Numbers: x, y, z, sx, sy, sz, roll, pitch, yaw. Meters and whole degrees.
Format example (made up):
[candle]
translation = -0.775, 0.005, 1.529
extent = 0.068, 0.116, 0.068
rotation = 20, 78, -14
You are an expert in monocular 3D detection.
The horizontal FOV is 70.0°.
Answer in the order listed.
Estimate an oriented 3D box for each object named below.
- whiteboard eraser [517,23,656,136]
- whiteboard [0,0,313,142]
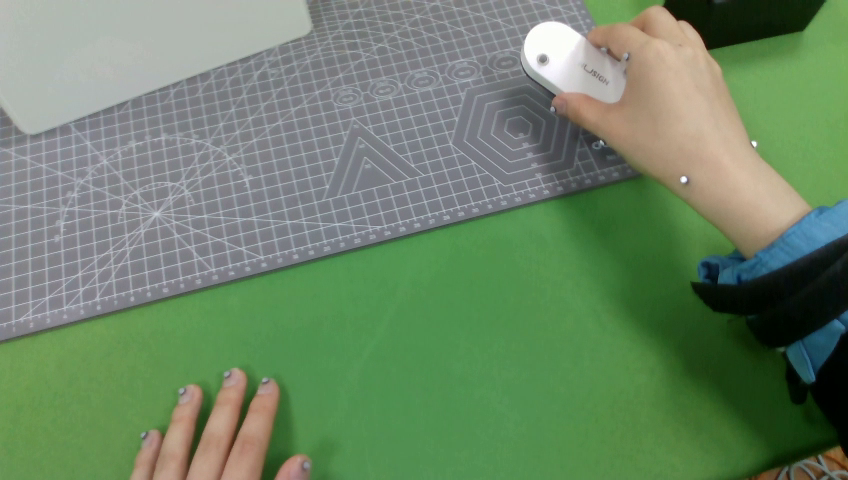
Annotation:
[whiteboard eraser]
translation = 0.110, -0.108, 0.411
extent = 0.101, 0.019, 0.041
rotation = 36, 81, 3
[whiteboard]
translation = -0.230, -0.257, 0.374
extent = 0.217, 0.308, 0.142
rotation = -24, 47, -11
